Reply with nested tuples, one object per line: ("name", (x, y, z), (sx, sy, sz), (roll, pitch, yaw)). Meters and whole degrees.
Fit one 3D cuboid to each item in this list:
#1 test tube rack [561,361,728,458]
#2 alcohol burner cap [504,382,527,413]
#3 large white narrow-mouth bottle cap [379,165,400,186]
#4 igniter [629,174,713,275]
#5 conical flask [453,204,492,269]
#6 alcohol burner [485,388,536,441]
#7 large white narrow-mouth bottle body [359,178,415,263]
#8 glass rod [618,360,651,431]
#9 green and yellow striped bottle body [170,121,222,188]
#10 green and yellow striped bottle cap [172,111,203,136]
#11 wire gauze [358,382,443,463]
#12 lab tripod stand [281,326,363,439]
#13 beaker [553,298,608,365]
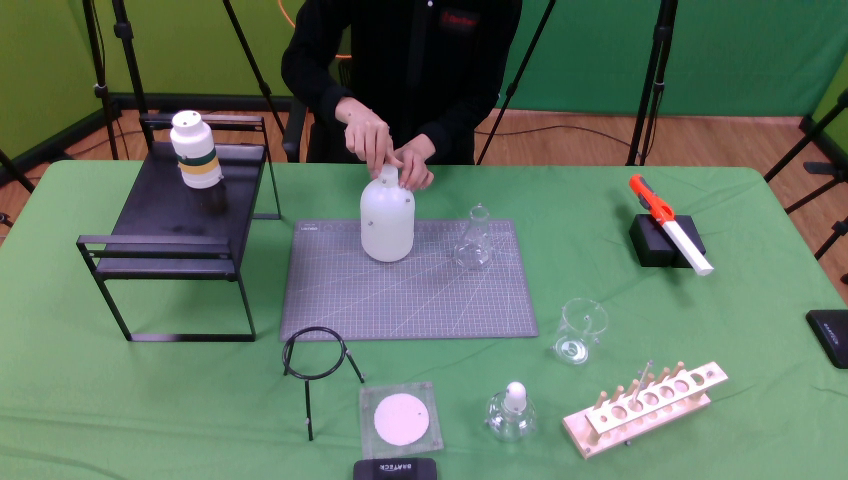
("test tube rack", (0.341, 0.248, 0.940), (0.243, 0.085, 0.066), (-15, 49, -18))
("alcohol burner cap", (0.133, 0.225, 0.877), (0.034, 0.048, 0.033), (-4, 47, 5))
("large white narrow-mouth bottle cap", (-0.060, -0.113, 1.059), (0.038, 0.024, 0.037), (4, 46, -4))
("igniter", (0.481, -0.040, 1.202), (0.057, 0.025, 0.274), (-2, 46, -21))
("conical flask", (0.097, -0.009, 1.140), (0.075, 0.122, 0.075), (2, 46, -2))
("alcohol burner", (0.131, 0.249, 0.904), (0.078, 0.120, 0.077), (1, 48, -1))
("large white narrow-mouth bottle body", (-0.069, -0.054, 1.123), (0.102, 0.195, 0.101), (4, 46, -3))
("glass rod", (0.298, 0.226, 0.865), (0.008, 0.201, 0.008), (-2, 48, 2))
("green and yellow striped bottle body", (-0.375, -0.149, 0.995), (0.063, 0.120, 0.063), (2, 46, -2))
("green and yellow striped bottle cap", (-0.374, -0.185, 0.957), (0.045, 0.020, 0.045), (3, 45, -3))
("wire gauze", (-0.039, 0.277, 0.937), (0.121, 0.011, 0.124), (-4, 47, -7))
("lab tripod stand", (-0.166, 0.202, 0.913), (0.148, 0.132, 0.147), (1, 47, -1))
("beaker", (0.260, 0.154, 1.015), (0.073, 0.101, 0.084), (37, 54, 27))
